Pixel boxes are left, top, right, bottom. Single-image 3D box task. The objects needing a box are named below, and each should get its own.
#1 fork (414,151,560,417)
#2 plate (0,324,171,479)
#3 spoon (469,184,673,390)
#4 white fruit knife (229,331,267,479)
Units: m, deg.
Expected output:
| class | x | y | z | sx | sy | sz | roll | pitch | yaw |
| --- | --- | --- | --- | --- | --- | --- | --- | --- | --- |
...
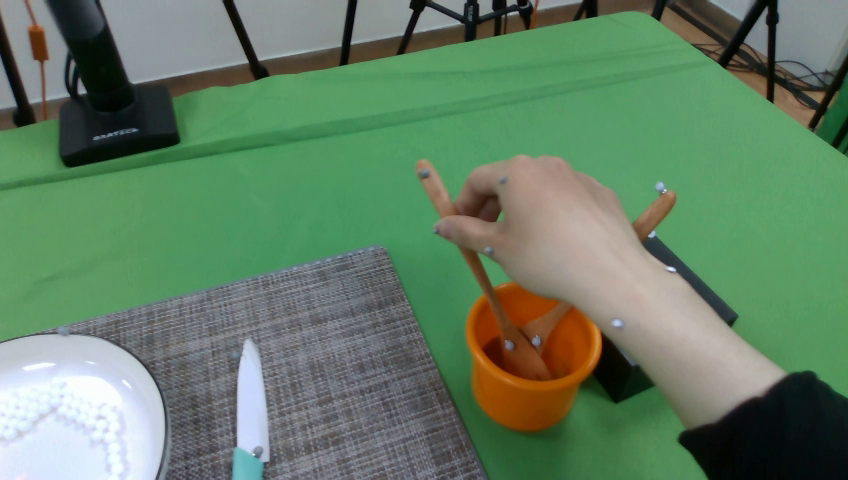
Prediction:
| class | x | y | z | sx | sy | sz | roll | pitch | yaw |
| --- | --- | --- | --- | --- | --- | --- | --- | --- | --- |
| fork | 0.043 | 0.032 | 0.426 | 0.028 | 0.208 | 0.018 | -27 | 9 | -2 |
| plate | -0.266 | 0.148 | 0.386 | 0.209 | 0.038 | 0.207 | 1 | 46 | 0 |
| spoon | 0.102 | 0.035 | 0.426 | 0.041 | 0.194 | 0.022 | 45 | 18 | 10 |
| white fruit knife | -0.119 | 0.144 | 0.411 | 0.027 | 0.016 | 0.205 | 15 | 37 | -30 |
